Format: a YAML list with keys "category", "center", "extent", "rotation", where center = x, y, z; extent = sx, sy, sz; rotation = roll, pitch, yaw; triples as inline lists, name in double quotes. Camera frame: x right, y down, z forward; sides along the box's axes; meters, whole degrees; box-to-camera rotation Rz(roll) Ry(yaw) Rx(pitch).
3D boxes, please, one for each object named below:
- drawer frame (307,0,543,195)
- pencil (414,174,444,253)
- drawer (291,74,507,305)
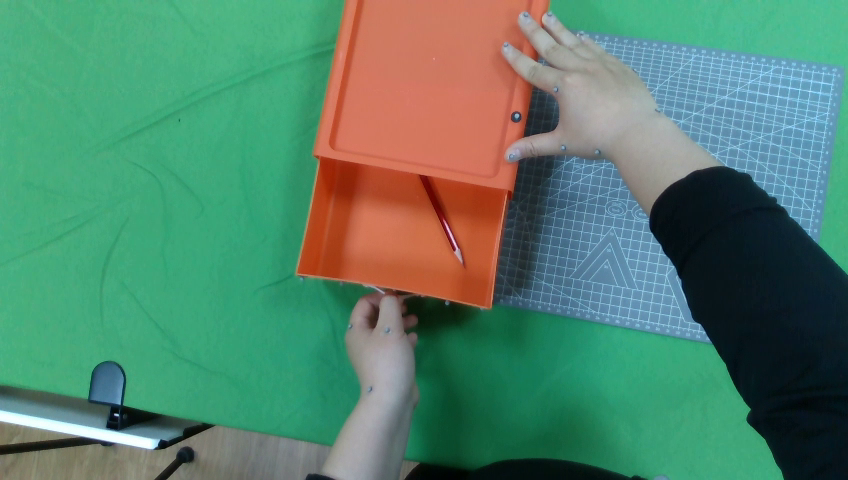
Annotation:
- category: "drawer frame"
  center: [0.004, -0.165, 0.615]
  extent: [0.201, 0.083, 0.213]
  rotation: [10, 87, 7]
- category: "pencil"
  center: [-0.005, -0.065, 0.638]
  extent: [0.012, 0.012, 0.194]
  rotation: [-18, 91, 5]
- category: "drawer"
  center: [-0.015, -0.051, 0.612]
  extent: [0.194, 0.073, 0.211]
  rotation: [9, 87, 7]
